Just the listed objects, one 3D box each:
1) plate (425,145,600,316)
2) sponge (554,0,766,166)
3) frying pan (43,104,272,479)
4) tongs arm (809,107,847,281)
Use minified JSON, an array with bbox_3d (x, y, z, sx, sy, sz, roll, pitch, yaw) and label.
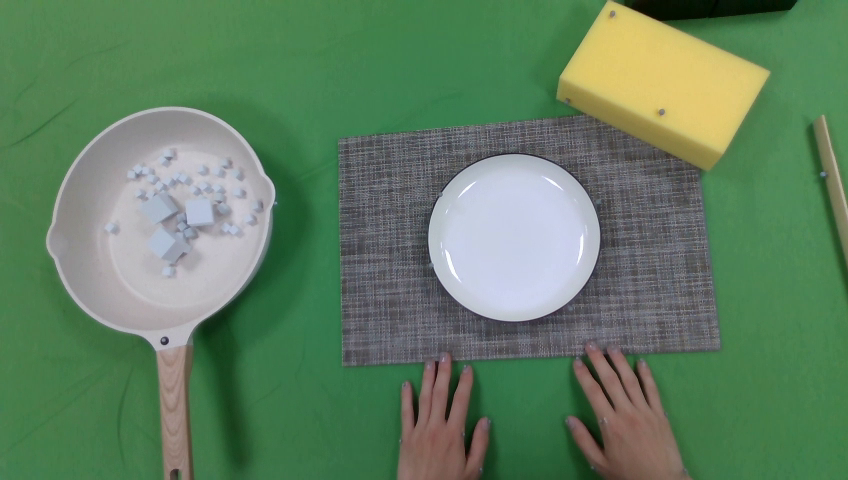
[{"bbox_3d":[0.105,-0.011,0.736,0.207,0.039,0.207,-1,80,8],"label":"plate"},{"bbox_3d":[0.278,-0.193,0.732,0.206,0.061,0.118,29,84,13],"label":"sponge"},{"bbox_3d":[-0.314,0.069,0.750,0.306,0.103,0.484,-12,71,7],"label":"frying pan"},{"bbox_3d":[0.495,0.032,0.685,0.028,0.028,0.386,-10,80,4],"label":"tongs arm"}]
